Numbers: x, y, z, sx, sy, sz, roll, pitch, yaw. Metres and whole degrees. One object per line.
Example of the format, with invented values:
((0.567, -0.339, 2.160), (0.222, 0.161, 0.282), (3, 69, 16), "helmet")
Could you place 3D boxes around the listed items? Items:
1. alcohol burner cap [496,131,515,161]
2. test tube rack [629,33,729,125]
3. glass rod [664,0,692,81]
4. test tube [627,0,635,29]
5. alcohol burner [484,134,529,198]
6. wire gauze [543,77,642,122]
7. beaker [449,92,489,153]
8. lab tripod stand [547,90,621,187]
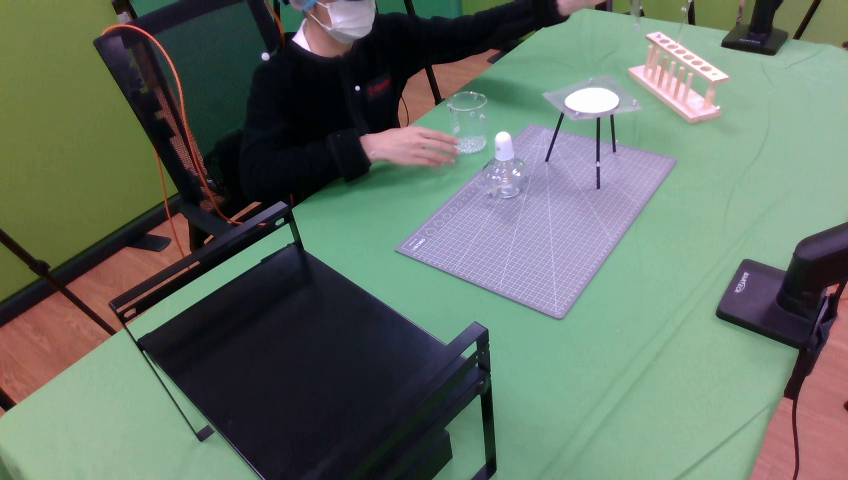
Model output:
((0.135, -0.160, 1.019), (0.034, 0.048, 0.033), (-8, 38, 7), "alcohol burner cap")
((0.516, -0.337, 1.247), (0.067, 0.085, 0.240), (-14, 41, -7), "test tube rack")
((0.524, -0.419, 1.240), (0.008, 0.200, 0.008), (1, 42, -1), "glass rod")
((0.385, -0.467, 1.125), (0.017, 0.151, 0.017), (-9, 38, 8), "test tube")
((0.141, -0.133, 1.041), (0.078, 0.119, 0.077), (-5, 43, 5), "alcohol burner")
((0.282, -0.236, 1.020), (0.125, 0.011, 0.120), (-15, 40, -6), "wire gauze")
((0.092, -0.228, 1.177), (0.073, 0.101, 0.084), (15, 45, 24), "beaker")
((0.289, -0.184, 1.062), (0.148, 0.132, 0.147), (-6, 41, 6), "lab tripod stand")
